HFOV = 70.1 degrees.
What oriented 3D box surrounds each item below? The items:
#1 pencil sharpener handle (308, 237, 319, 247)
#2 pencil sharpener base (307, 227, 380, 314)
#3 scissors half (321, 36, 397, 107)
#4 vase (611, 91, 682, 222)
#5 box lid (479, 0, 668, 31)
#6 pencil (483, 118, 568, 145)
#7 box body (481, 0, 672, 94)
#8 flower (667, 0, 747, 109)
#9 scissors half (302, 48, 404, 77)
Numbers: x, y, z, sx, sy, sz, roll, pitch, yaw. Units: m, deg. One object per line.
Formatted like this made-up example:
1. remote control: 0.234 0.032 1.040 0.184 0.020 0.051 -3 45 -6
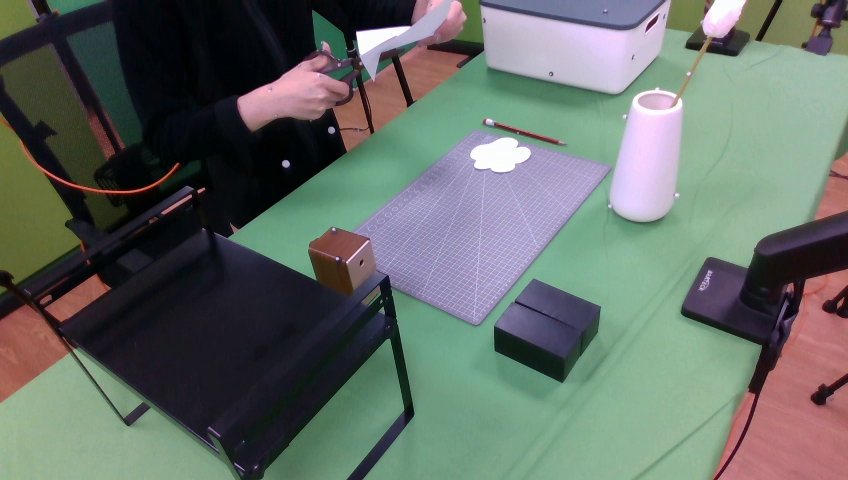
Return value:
1. pencil sharpener handle: -0.159 0.017 0.892 0.030 0.068 0.036 18 60 28
2. pencil sharpener base: -0.116 0.043 0.875 0.076 0.107 0.061 18 47 27
3. scissors half: -0.099 -0.259 0.932 0.174 0.040 0.013 -34 19 37
4. vase: 0.348 -0.125 0.935 0.098 0.201 0.097 -3 40 3
5. box lid: 0.335 -0.536 1.331 0.368 0.015 0.264 23 49 30
6. pencil: 0.201 -0.217 1.212 0.192 0.012 0.012 24 49 29
7. box body: 0.341 -0.480 1.381 0.361 0.161 0.255 22 48 30
8. flower: 0.354 -0.187 0.879 0.038 0.362 0.044 30 48 14
9. scissors half: -0.111 -0.277 0.922 0.174 0.040 0.013 -2 41 20
